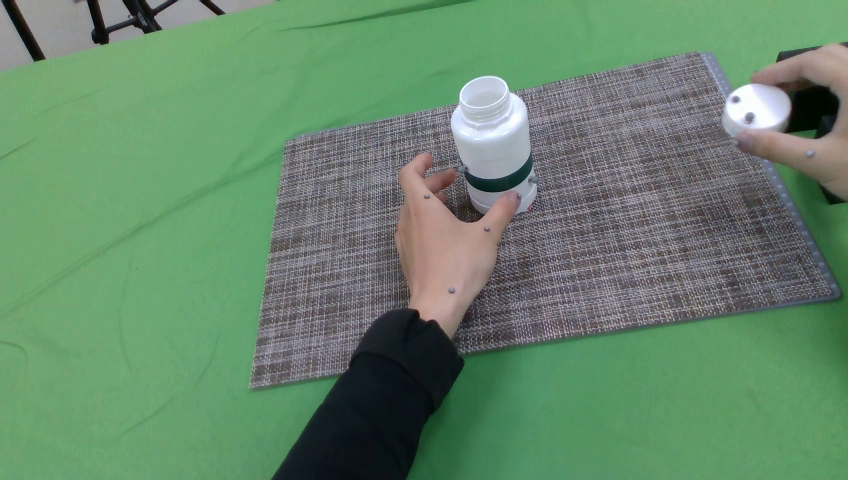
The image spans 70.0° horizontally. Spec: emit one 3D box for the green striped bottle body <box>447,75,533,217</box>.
[{"bbox_3d":[0.056,-0.080,0.515,0.063,0.120,0.062,-8,51,10],"label":"green striped bottle body"}]

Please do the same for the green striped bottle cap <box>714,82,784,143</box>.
[{"bbox_3d":[0.239,-0.094,0.445,0.044,0.020,0.044,-7,60,14],"label":"green striped bottle cap"}]
